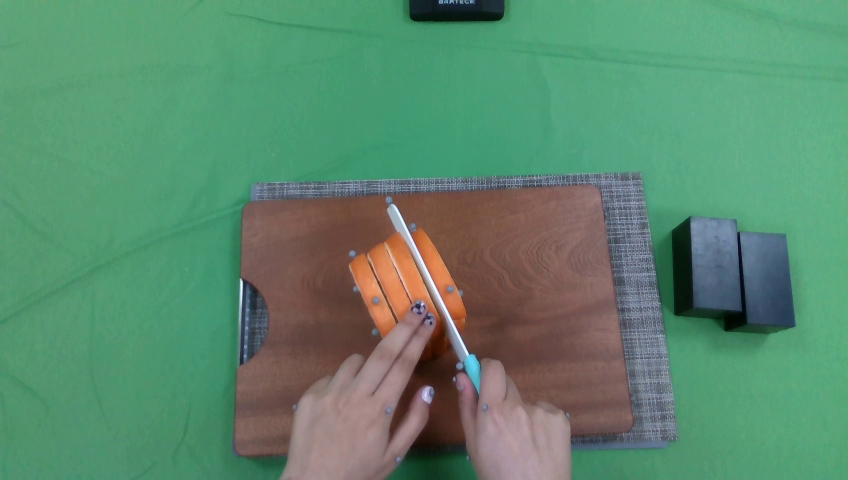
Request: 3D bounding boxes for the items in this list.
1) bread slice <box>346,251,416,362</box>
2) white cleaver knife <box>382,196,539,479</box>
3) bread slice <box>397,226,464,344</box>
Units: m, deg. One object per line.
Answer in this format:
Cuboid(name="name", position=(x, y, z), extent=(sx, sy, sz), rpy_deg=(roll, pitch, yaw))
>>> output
Cuboid(name="bread slice", position=(-0.042, 0.063, 0.576), extent=(0.019, 0.132, 0.104), rpy_deg=(-27, 74, -3))
Cuboid(name="white cleaver knife", position=(0.030, 0.089, 0.536), extent=(0.021, 0.066, 0.286), rpy_deg=(-25, 86, -7))
Cuboid(name="bread slice", position=(0.004, 0.045, 0.581), extent=(0.018, 0.135, 0.106), rpy_deg=(-27, 79, -12))
